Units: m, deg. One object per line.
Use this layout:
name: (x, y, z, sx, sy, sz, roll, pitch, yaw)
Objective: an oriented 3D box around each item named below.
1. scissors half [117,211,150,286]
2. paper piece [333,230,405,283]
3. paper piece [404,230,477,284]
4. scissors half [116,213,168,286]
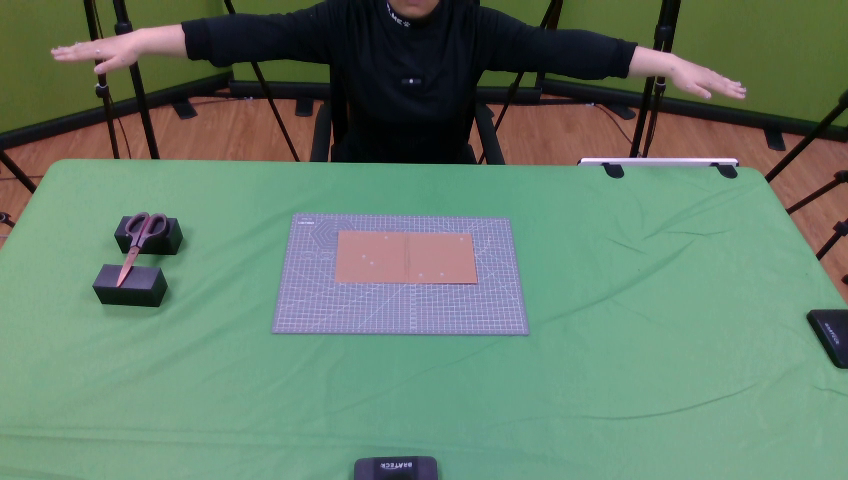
scissors half: (-0.524, 0.013, 1.080, 0.040, 0.013, 0.174, 1, 48, -11)
paper piece: (-0.104, 0.031, 1.165, 0.135, 0.004, 0.135, 1, 47, -4)
paper piece: (0.030, 0.033, 1.174, 0.138, 0.009, 0.135, 2, 49, -3)
scissors half: (-0.504, 0.015, 1.082, 0.040, 0.013, 0.174, 10, 48, 4)
